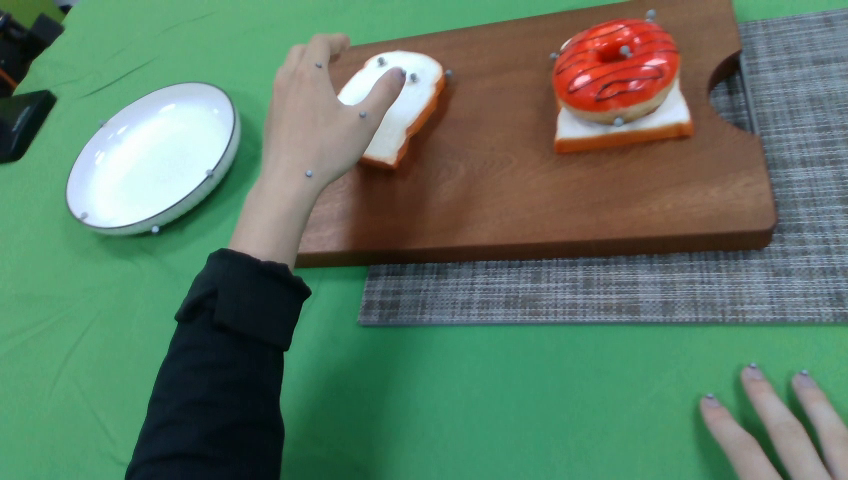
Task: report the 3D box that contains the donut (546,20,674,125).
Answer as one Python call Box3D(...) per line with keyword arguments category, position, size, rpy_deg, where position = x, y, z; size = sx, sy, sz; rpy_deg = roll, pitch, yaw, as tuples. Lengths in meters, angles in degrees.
Box3D(category="donut", position=(0.147, -0.135, 0.483), size=(0.099, 0.049, 0.098), rpy_deg=(-11, 55, 16))

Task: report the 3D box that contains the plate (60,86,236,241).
Box3D(category="plate", position=(-0.297, -0.083, 0.667), size=(0.209, 0.038, 0.207), rpy_deg=(-10, 55, 14))

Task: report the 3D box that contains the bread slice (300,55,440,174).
Box3D(category="bread slice", position=(-0.046, -0.124, 0.583), size=(0.106, 0.018, 0.133), rpy_deg=(15, 65, 27))

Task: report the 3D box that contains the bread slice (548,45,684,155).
Box3D(category="bread slice", position=(0.155, -0.131, 0.515), size=(0.104, 0.019, 0.130), rpy_deg=(-6, 57, 15))
